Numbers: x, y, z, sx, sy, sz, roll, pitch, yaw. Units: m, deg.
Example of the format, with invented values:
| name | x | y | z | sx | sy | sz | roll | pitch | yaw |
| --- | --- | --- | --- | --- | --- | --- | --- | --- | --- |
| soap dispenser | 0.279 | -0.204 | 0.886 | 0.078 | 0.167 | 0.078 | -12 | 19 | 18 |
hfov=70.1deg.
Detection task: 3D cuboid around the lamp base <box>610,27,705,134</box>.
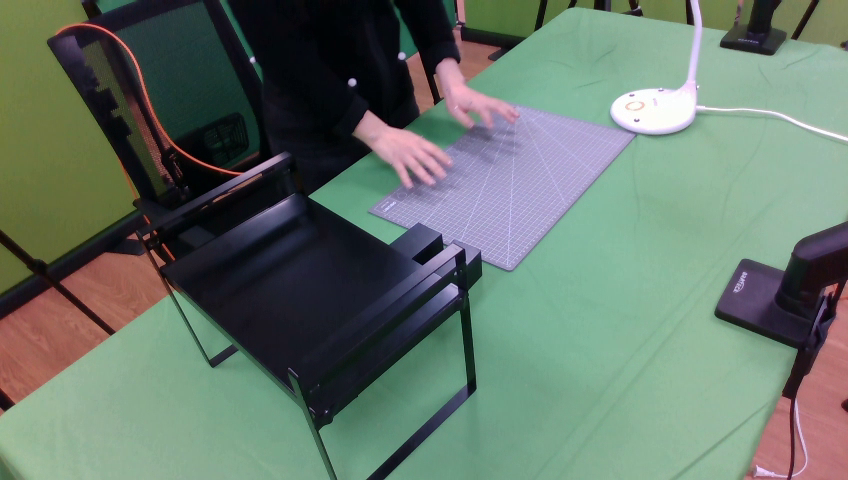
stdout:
| name | x | y | z | sx | sy | sz | roll | pitch | yaw |
| --- | --- | --- | --- | --- | --- | --- | --- | --- | --- |
| lamp base | 0.458 | -0.316 | 1.154 | 0.179 | 0.181 | 0.159 | -5 | 41 | -1 |
